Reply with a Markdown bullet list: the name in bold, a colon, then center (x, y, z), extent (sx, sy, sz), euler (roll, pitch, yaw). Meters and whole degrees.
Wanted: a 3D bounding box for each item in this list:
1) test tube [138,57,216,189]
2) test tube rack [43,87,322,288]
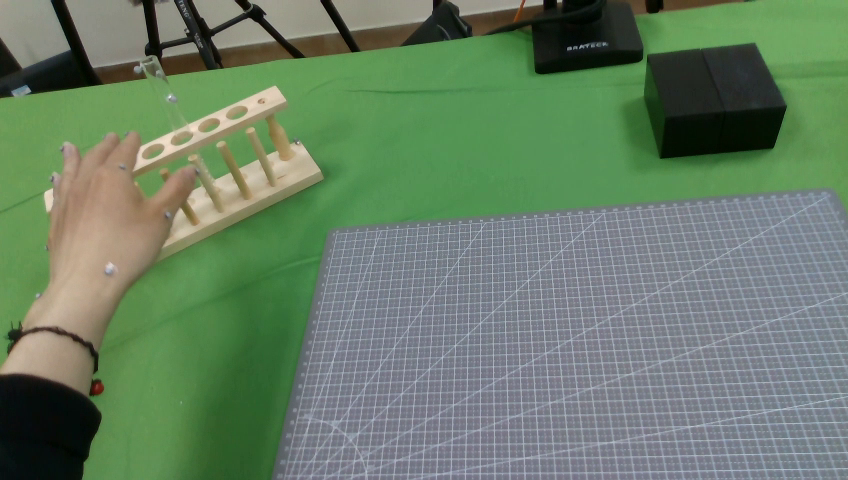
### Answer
- **test tube**: center (-0.235, -0.106, 0.587), extent (0.017, 0.152, 0.017), euler (-6, 45, 6)
- **test tube rack**: center (-0.235, -0.055, 0.609), extent (0.242, 0.086, 0.066), euler (-29, 49, -11)
